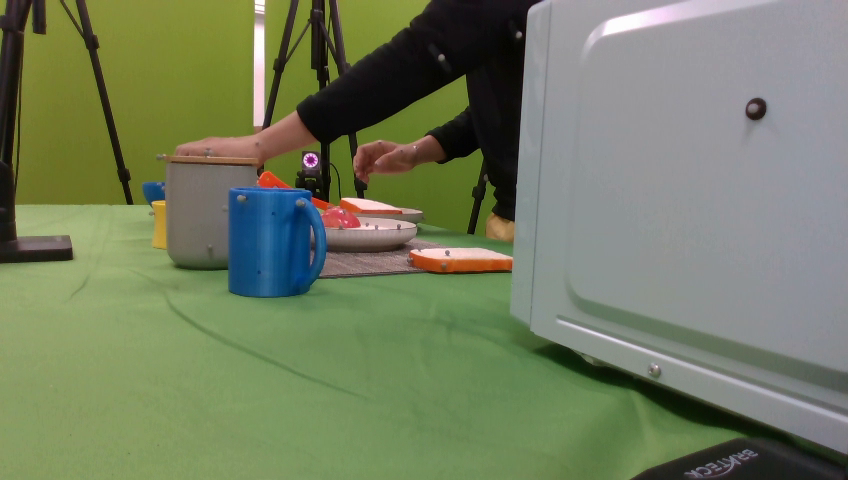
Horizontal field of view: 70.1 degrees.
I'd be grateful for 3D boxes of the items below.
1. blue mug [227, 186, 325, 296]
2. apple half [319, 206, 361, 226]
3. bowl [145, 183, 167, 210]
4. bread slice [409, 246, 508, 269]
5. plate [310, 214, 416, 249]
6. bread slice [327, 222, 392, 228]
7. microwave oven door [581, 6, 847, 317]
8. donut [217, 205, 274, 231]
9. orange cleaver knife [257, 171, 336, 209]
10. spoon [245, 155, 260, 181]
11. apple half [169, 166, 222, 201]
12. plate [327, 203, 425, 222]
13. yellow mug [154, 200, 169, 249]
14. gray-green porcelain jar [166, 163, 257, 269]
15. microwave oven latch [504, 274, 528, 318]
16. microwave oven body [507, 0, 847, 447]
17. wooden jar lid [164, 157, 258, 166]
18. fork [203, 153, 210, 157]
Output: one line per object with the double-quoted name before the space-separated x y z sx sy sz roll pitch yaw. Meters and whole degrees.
"blue mug" -0.146 0.000 0.618 0.116 0.106 0.083 7 9 32
"apple half" -0.142 -0.041 1.002 0.081 0.033 0.081 0 7 0
"bowl" -0.459 -0.069 1.175 0.151 0.077 0.151 3 7 0
"bread slice" 0.048 0.022 0.816 0.132 0.019 0.104 0 6 -24
"plate" -0.117 -0.014 0.967 0.208 0.039 0.207 2 7 0
"bread slice" -0.116 -0.014 0.975 0.135 0.018 0.106 -5 11 -42
"microwave oven door" 0.295 -0.067 0.570 0.358 0.243 0.039 -3 8 -31
"donut" -0.318 -0.038 1.080 0.099 0.048 0.099 3 7 0
"orange cleaver knife" -0.283 -0.087 1.343 0.212 0.077 0.012 24 -16 -41
"spoon" -0.421 -0.150 1.540 0.042 0.021 0.193 -5 55 -37
"apple half" -0.374 -0.095 0.995 0.081 0.053 0.074 8 -3 -11
"plate" -0.102 -0.053 1.299 0.209 0.038 0.209 2 8 0
"yellow mug" -0.337 -0.023 0.899 0.130 0.064 0.100 8 10 35
"gray-green porcelain jar" -0.263 -0.032 0.754 0.106 0.126 0.106 2 7 0
"microwave oven latch" 0.100 0.041 0.471 0.079 0.029 0.030 -1 7 -27
"microwave oven body" 0.331 -0.042 0.425 0.444 0.260 0.324 -2 8 -31
"wooden jar lid" -0.261 -0.093 0.746 0.108 0.020 0.108 1 9 0
"fork" -0.480 -0.136 1.411 0.028 0.018 0.207 0 -34 -1
